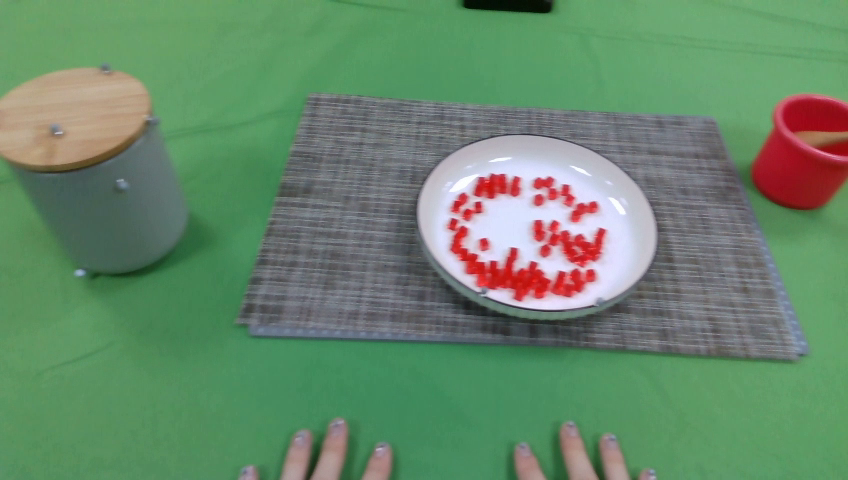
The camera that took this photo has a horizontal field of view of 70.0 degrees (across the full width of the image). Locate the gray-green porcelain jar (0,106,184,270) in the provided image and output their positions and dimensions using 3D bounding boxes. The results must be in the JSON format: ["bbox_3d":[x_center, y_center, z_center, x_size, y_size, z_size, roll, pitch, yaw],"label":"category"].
[{"bbox_3d":[-0.258,-0.046,0.486,0.106,0.127,0.105,2,51,-2],"label":"gray-green porcelain jar"}]

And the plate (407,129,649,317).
[{"bbox_3d":[0.089,-0.016,0.535,0.208,0.039,0.205,2,51,-2],"label":"plate"}]

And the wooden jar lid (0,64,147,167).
[{"bbox_3d":[-0.256,-0.088,0.436,0.108,0.021,0.107,4,50,-4],"label":"wooden jar lid"}]

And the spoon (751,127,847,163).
[{"bbox_3d":[0.401,-0.105,0.553,0.193,0.022,0.041,-10,34,42],"label":"spoon"}]
